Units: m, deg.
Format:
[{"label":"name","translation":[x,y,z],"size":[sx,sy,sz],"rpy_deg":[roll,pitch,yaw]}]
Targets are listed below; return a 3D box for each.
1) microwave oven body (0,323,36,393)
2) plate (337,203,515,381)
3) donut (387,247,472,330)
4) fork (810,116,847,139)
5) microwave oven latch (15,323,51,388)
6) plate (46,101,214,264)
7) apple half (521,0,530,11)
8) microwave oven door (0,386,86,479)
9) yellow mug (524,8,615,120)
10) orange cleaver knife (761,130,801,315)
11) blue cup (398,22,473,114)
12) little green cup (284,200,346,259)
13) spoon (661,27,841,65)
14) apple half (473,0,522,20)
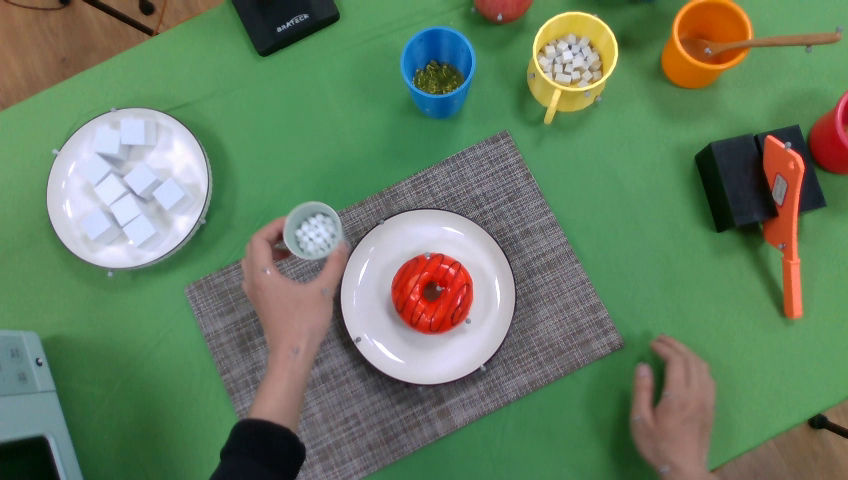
[{"label":"microwave oven body","translation":[-0.544,0.340,0.591],"size":[0.326,0.261,0.440],"rpy_deg":[-23,81,-1]},{"label":"plate","translation":[0.003,0.060,0.718],"size":[0.209,0.038,0.208],"rpy_deg":[0,81,3]},{"label":"donut","translation":[0.007,0.056,0.707],"size":[0.099,0.048,0.098],"rpy_deg":[-1,82,4]},{"label":"fork","translation":[0.542,-0.120,0.667],"size":[0.205,0.019,0.028],"rpy_deg":[16,68,48]},{"label":"microwave oven latch","translation":[-0.471,0.138,0.716],"size":[0.030,0.029,0.079],"rpy_deg":[-22,81,-1]},{"label":"plate","translation":[-0.363,-0.070,0.762],"size":[0.207,0.039,0.207],"rpy_deg":[0,81,3]},{"label":"apple half","translation":[0.122,-0.328,0.757],"size":[0.033,0.081,0.081],"rpy_deg":[-21,80,2]},{"label":"microwave oven door","translation":[-0.393,0.320,0.581],"size":[0.039,0.244,0.354],"rpy_deg":[-24,80,-1]},{"label":"yellow mug","translation":[0.171,-0.207,0.740],"size":[0.100,0.064,0.130],"rpy_deg":[21,84,6]},{"label":"orange cleaver knife","translation":[0.405,-0.018,0.690],"size":[0.012,0.076,0.212],"rpy_deg":[-12,110,4]},{"label":"blue cup","translation":[0.015,-0.198,0.730],"size":[0.092,0.100,0.092],"rpy_deg":[0,82,2]},{"label":"little green cup","translation":[-0.113,-0.008,0.643],"size":[0.061,0.039,0.061],"rpy_deg":[-1,81,6]},{"label":"spoon","translation":[0.363,-0.226,0.691],"size":[0.022,0.192,0.041],"rpy_deg":[28,80,-37]},{"label":"apple half","translation":[0.085,-0.314,0.759],"size":[0.053,0.075,0.080],"rpy_deg":[-21,83,3]}]
